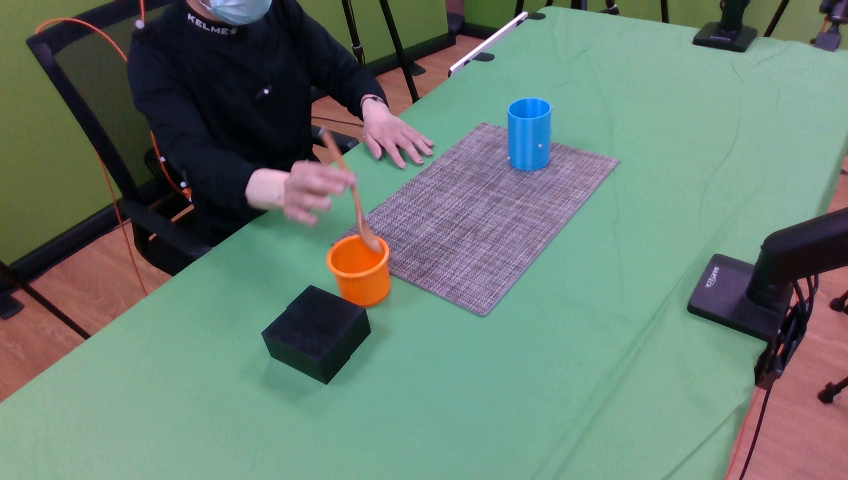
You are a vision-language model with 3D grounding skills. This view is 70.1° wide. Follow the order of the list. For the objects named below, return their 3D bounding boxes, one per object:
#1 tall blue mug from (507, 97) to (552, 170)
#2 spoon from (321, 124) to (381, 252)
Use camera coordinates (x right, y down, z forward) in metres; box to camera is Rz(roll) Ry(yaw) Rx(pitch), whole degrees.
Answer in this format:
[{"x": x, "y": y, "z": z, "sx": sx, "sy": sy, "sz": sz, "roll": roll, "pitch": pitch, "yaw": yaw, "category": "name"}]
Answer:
[{"x": 0.179, "y": -0.198, "z": 1.101, "sx": 0.078, "sy": 0.108, "sz": 0.106, "roll": -36, "pitch": 49, "yaw": -28, "category": "tall blue mug"}, {"x": -0.101, "y": -0.071, "z": 0.847, "sx": 0.021, "sy": 0.194, "sz": 0.041, "roll": -16, "pitch": 12, "yaw": 13, "category": "spoon"}]
